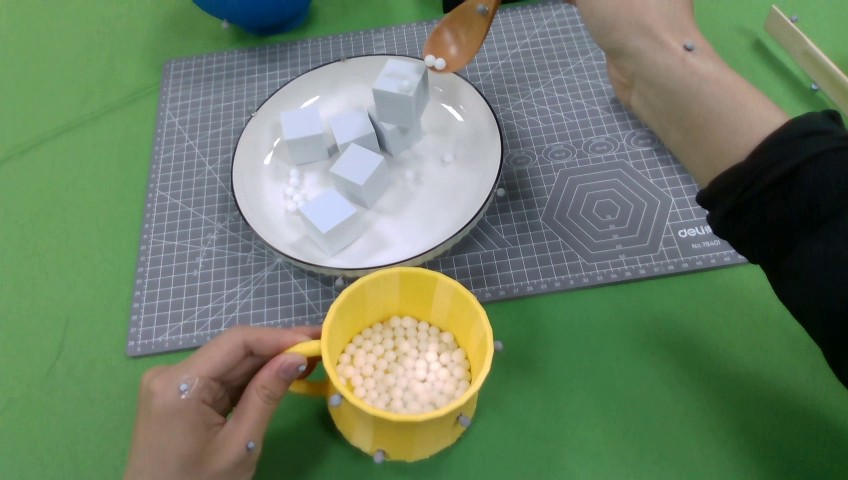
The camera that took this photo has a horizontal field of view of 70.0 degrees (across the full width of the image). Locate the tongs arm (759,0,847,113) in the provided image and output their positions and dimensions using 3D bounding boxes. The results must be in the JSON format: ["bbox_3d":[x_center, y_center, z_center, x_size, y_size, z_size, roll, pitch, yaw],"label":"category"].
[{"bbox_3d":[0.340,-0.037,0.426,0.051,0.027,0.381,-20,62,-8],"label":"tongs arm"}]

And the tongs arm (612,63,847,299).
[{"bbox_3d":[0.267,-0.003,0.414,0.028,0.028,0.384,-31,64,-17],"label":"tongs arm"}]

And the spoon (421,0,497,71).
[{"bbox_3d":[0.061,-0.178,0.378,0.022,0.194,0.041,-4,62,-42],"label":"spoon"}]

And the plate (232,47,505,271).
[{"bbox_3d":[-0.042,-0.064,0.473,0.207,0.039,0.206,-2,60,4],"label":"plate"}]

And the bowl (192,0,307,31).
[{"bbox_3d":[-0.157,-0.253,0.571,0.151,0.077,0.150,-3,60,5],"label":"bowl"}]

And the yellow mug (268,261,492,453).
[{"bbox_3d":[-0.028,0.072,0.367,0.131,0.064,0.099,-4,53,-9],"label":"yellow mug"}]
